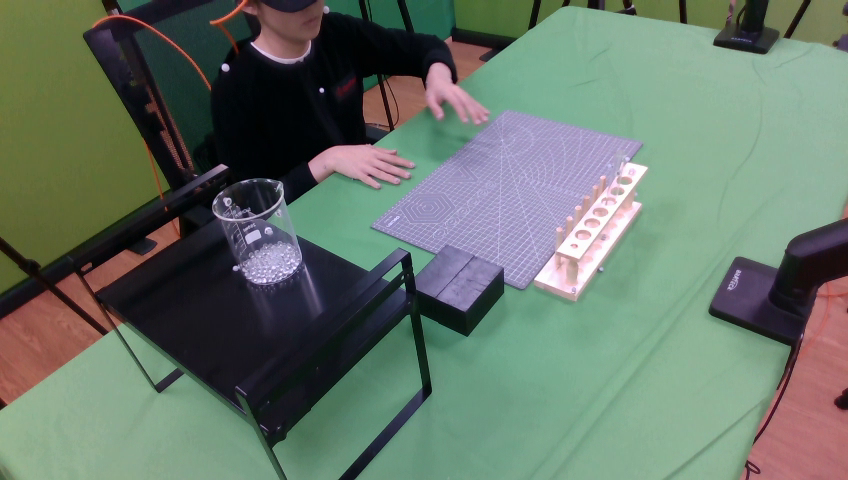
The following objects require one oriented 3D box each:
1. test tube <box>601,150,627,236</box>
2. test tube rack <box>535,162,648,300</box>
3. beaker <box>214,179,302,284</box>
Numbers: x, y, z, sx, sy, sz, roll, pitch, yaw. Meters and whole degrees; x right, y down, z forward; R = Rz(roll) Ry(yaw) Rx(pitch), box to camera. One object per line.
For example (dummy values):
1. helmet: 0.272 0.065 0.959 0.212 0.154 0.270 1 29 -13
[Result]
1. test tube: 0.276 -0.065 0.884 0.017 0.151 0.017 -2 41 2
2. test tube rack: 0.257 -0.024 0.916 0.066 0.085 0.243 22 49 30
3. beaker: -0.178 -0.008 0.675 0.073 0.101 0.084 22 48 30
